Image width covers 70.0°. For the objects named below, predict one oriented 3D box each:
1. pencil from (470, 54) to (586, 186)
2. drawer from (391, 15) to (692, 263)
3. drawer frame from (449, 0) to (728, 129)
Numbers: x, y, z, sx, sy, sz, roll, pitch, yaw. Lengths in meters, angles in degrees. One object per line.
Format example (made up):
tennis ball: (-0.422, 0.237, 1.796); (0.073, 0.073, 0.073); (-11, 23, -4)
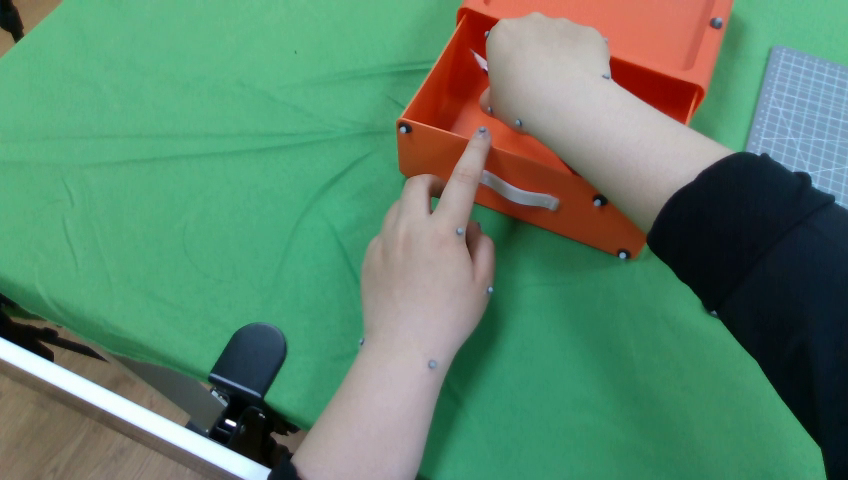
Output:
pencil: (0.095, -0.072, 0.470); (0.012, 0.012, 0.193); (-35, 82, -19)
drawer: (0.105, -0.110, 0.485); (0.194, 0.074, 0.210); (21, 61, 11)
drawer frame: (0.153, -0.204, 0.537); (0.201, 0.083, 0.212); (21, 61, 11)
